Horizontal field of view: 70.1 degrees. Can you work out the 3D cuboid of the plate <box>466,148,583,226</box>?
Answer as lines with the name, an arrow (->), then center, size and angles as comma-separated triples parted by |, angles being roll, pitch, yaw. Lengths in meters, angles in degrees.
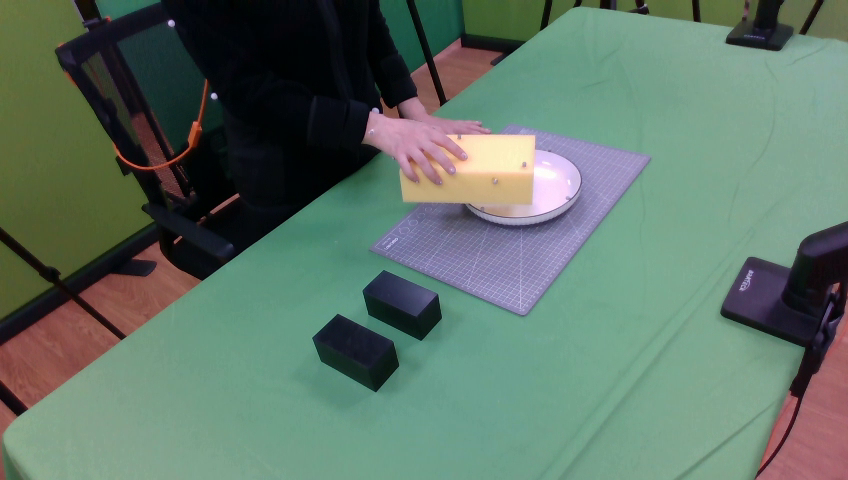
plate -> 0.167, -0.089, 1.043 | 0.209, 0.038, 0.208 | -5, 40, 5

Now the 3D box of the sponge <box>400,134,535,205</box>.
sponge -> 0.074, -0.116, 0.975 | 0.206, 0.061, 0.118 | 2, 39, 7
